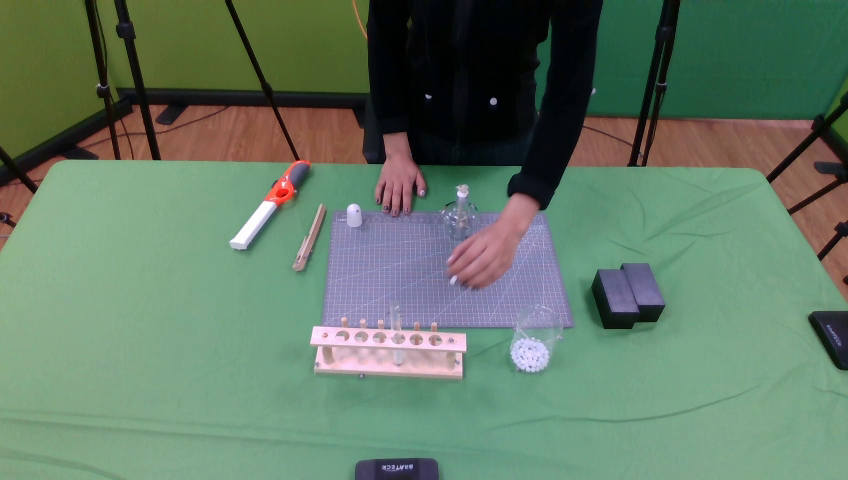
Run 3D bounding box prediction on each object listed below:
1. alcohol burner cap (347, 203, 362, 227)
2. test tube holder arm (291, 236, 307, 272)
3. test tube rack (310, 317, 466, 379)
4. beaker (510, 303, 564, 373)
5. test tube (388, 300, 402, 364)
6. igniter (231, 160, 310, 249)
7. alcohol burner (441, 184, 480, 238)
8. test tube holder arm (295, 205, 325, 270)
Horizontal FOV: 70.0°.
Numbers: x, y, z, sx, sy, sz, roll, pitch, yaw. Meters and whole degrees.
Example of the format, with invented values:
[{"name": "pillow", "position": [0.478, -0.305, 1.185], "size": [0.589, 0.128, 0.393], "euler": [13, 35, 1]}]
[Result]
[{"name": "alcohol burner cap", "position": [-0.141, -0.053, 1.222], "size": [0.034, 0.048, 0.033], "euler": [2, 47, -2]}, {"name": "test tube holder arm", "position": [-0.234, 0.025, 1.163], "size": [0.010, 0.015, 0.087], "euler": [-18, 37, 29]}, {"name": "test tube rack", "position": [-0.056, 0.171, 0.987], "size": [0.242, 0.085, 0.066], "euler": [3, 45, -1]}, {"name": "beaker", "position": [0.182, 0.164, 1.000], "size": [0.074, 0.101, 0.083], "euler": [2, 45, -1]}, {"name": "test tube", "position": [-0.044, 0.146, 0.942], "size": [0.017, 0.151, 0.017], "euler": [-1, 44, 1]}, {"name": "igniter", "position": [-0.311, -0.081, 1.250], "size": [0.057, 0.025, 0.275], "euler": [9, 45, 18]}, {"name": "alcohol burner", "position": [0.073, -0.061, 1.195], "size": [0.078, 0.120, 0.077], "euler": [1, 47, -1]}, {"name": "test tube holder arm", "position": [-0.223, -0.008, 1.192], "size": [0.013, 0.015, 0.177], "euler": [-19, 37, 27]}]
